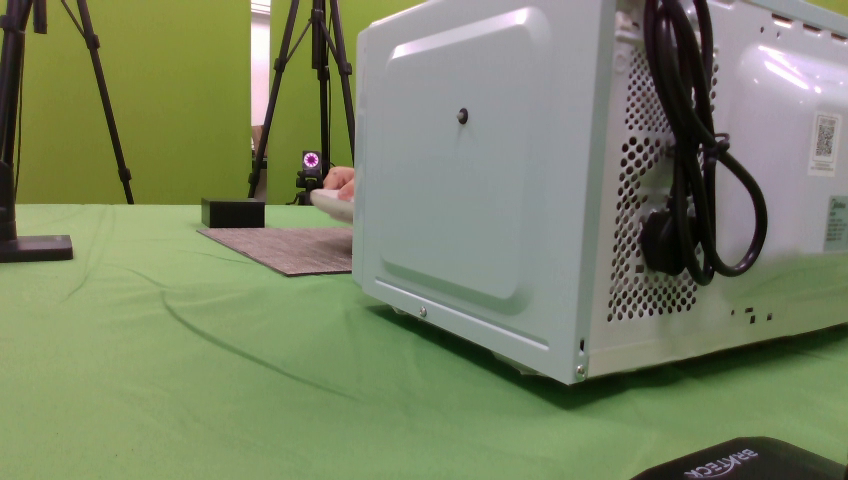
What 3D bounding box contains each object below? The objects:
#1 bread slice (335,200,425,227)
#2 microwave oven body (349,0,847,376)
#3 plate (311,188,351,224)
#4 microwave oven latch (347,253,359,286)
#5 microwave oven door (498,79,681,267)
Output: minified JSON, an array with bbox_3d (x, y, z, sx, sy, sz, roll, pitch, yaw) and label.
[{"bbox_3d":[-0.065,-0.041,0.897,0.132,0.019,0.104,8,7,-9],"label":"bread slice"},{"bbox_3d":[0.199,-0.053,0.540,0.444,0.260,0.324,-1,7,-32],"label":"microwave oven body"},{"bbox_3d":[-0.066,-0.044,0.900,0.209,0.038,0.209,9,8,-1],"label":"plate"},{"bbox_3d":[-0.034,0.028,0.581,0.079,0.029,0.030,-1,7,-31],"label":"microwave oven latch"},{"bbox_3d":[0.230,-0.106,0.924,0.039,0.243,0.354,-1,8,-26],"label":"microwave oven door"}]
